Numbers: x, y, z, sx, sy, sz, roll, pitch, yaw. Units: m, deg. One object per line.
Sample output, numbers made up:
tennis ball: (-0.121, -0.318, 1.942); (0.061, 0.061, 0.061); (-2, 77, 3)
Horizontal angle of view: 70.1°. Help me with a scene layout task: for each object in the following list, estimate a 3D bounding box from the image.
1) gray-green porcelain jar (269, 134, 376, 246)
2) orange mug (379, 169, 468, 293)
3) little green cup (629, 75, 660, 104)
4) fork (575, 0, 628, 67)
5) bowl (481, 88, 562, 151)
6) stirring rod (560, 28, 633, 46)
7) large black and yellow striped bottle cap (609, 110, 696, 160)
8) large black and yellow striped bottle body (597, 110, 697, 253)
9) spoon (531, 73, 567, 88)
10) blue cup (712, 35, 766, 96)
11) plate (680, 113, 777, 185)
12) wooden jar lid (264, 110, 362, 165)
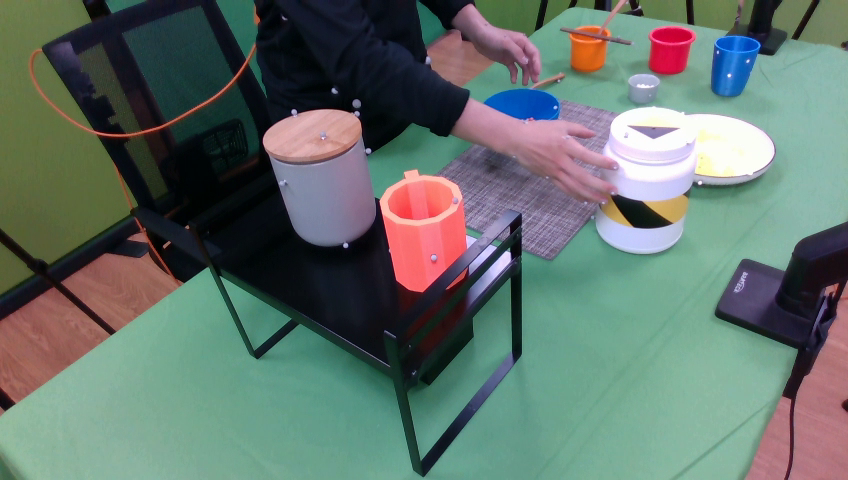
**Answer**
gray-green porcelain jar: (-0.115, -0.064, 0.715); (0.106, 0.127, 0.105); (-4, 40, 4)
orange mug: (-0.002, -0.019, 0.665); (0.083, 0.101, 0.125); (-12, 45, -4)
little green cup: (0.458, -0.314, 1.260); (0.061, 0.039, 0.061); (-4, 40, 4)
fork: (0.413, -0.481, 1.377); (0.207, 0.019, 0.028); (-56, 43, 12)
bowl: (0.187, -0.223, 1.161); (0.151, 0.077, 0.150); (-4, 40, 4)
stirring rod: (0.382, -0.453, 1.345); (0.174, 0.006, 0.014); (26, 53, 33)
large black and yellow striped bottle cap: (0.320, -0.150, 0.849); (0.115, 0.019, 0.114); (-4, 39, 3)
large black and yellow striped bottle body: (0.331, -0.087, 0.904); (0.131, 0.185, 0.130); (-5, 41, 4)
spoon: (0.250, -0.336, 1.332); (0.194, 0.022, 0.041); (-33, 32, -25)
blue cup: (0.627, -0.350, 1.227); (0.092, 0.100, 0.092); (-4, 39, 4)
plate: (0.506, -0.158, 1.073); (0.209, 0.038, 0.208); (-5, 40, 4)
wooden jar lid: (-0.122, -0.112, 0.673); (0.108, 0.021, 0.108); (-4, 37, 4)
